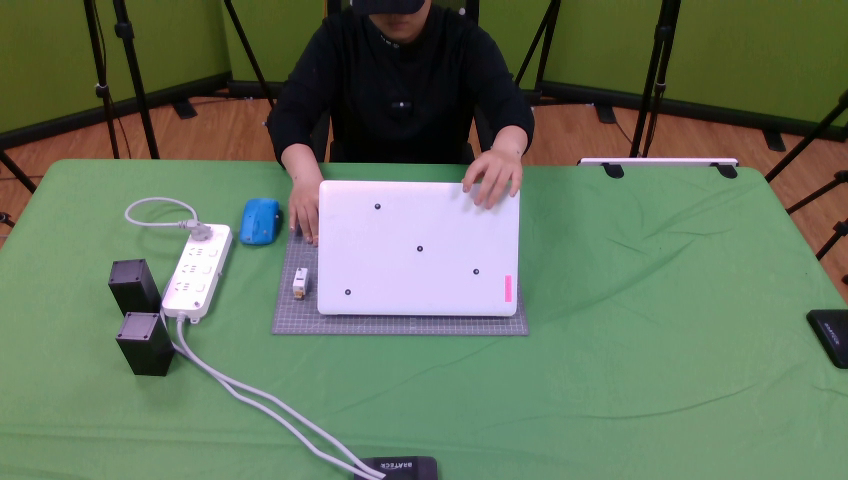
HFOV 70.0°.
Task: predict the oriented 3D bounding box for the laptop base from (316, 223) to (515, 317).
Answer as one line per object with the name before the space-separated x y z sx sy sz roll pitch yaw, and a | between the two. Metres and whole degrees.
laptop base | -0.016 0.054 1.145 0.354 0.023 0.234 1 42 -3

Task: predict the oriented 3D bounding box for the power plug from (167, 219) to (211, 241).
power plug | -0.438 -0.017 1.143 0.072 0.053 0.035 10 43 7

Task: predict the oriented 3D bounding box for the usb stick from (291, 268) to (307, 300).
usb stick | -0.227 0.081 1.094 0.021 0.027 0.059 7 47 -5

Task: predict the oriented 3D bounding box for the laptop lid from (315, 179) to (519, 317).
laptop lid | -0.010 0.015 1.054 0.357 0.241 0.013 3 1 -3

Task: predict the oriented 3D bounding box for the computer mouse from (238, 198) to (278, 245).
computer mouse | -0.328 -0.040 1.200 0.063 0.041 0.116 3 50 -4

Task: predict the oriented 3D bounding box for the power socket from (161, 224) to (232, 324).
power socket | -0.412 0.052 1.107 0.072 0.033 0.225 4 46 -2
